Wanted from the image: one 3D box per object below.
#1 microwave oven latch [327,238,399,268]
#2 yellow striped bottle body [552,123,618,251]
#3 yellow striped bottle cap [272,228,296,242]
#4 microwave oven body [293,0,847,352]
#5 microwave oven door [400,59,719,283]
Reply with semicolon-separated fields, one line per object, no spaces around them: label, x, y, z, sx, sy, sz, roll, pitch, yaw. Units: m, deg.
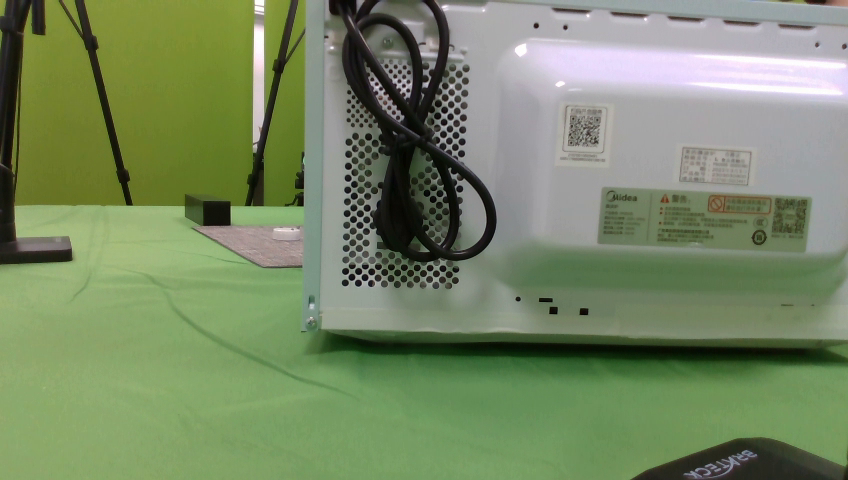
microwave oven latch;-0.069;0.015;0.694;0.079;0.029;0.030;3;7;-3
yellow striped bottle body;0.155;-0.051;0.586;0.063;0.120;0.063;-1;4;0
yellow striped bottle cap;-0.232;-0.008;1.011;0.044;0.018;0.044;4;8;0
microwave oven body;0.122;-0.055;0.550;0.442;0.260;0.325;3;7;-5
microwave oven door;0.154;-0.079;0.707;0.356;0.243;0.039;2;8;-2
